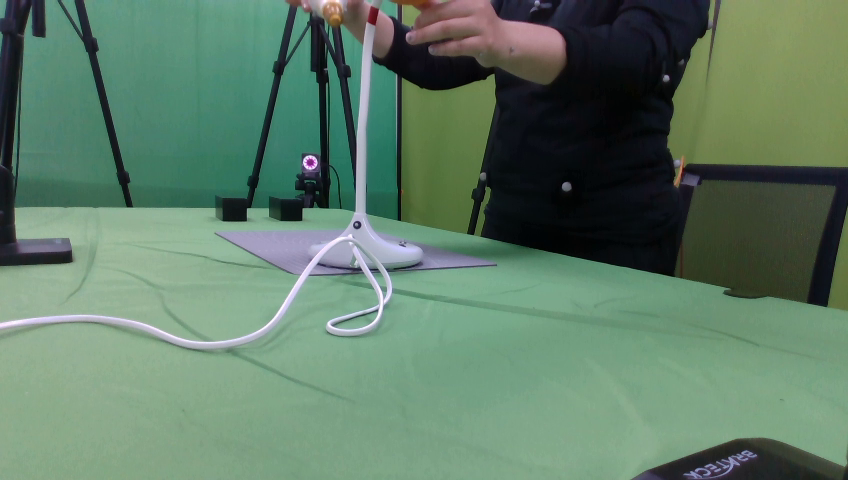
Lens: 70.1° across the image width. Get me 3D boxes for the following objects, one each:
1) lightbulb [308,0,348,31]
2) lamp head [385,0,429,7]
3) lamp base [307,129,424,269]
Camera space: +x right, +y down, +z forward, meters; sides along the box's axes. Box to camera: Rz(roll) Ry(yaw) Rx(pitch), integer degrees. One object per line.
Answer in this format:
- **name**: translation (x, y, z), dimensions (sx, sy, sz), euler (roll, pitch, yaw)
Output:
- **lightbulb**: translation (-0.139, -0.343, 0.896), dimensions (0.060, 0.059, 0.107), euler (0, 44, -21)
- **lamp head**: translation (-0.021, -0.324, 0.670), dimensions (0.112, 0.123, 0.112), euler (4, 3, 0)
- **lamp base**: translation (-0.077, -0.057, 0.811), dimensions (0.161, 0.180, 0.179), euler (2, 10, -4)
